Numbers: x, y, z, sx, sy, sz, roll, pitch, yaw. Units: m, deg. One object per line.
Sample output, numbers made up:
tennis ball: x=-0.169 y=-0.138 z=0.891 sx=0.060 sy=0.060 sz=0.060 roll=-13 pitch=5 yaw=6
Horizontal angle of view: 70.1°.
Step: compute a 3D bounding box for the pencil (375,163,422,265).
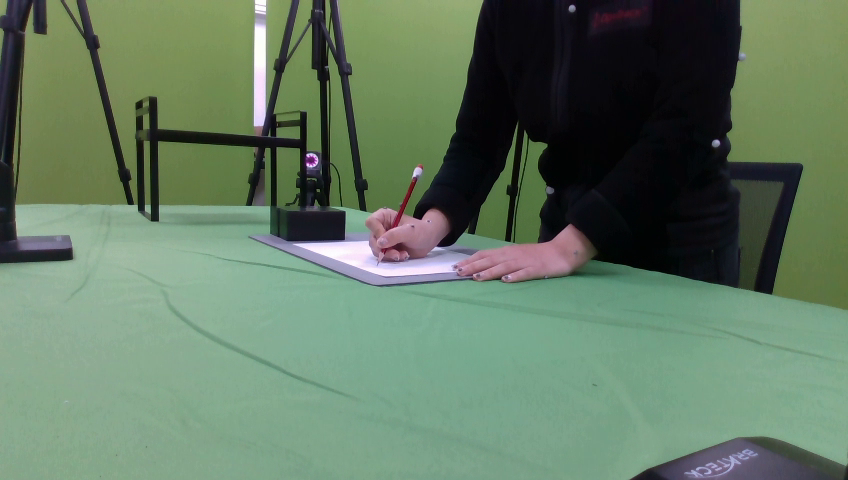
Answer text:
pencil: x=-0.035 y=-0.040 z=0.844 sx=0.012 sy=0.012 sz=0.194 roll=6 pitch=51 yaw=21
